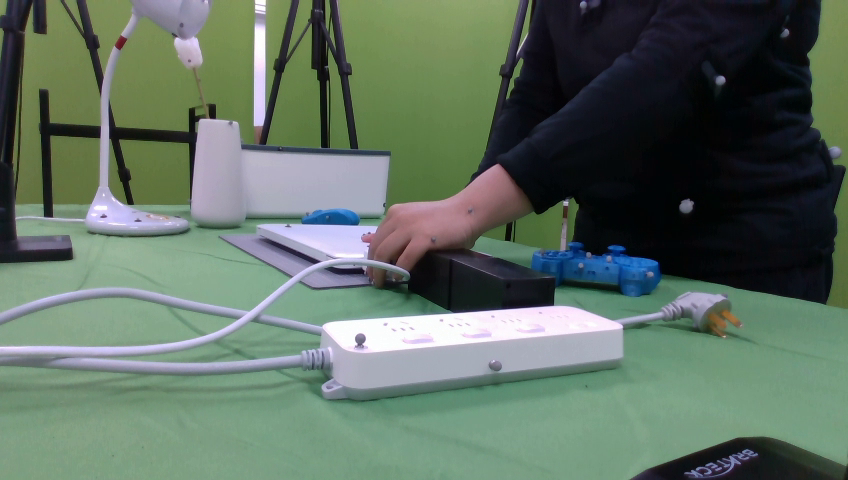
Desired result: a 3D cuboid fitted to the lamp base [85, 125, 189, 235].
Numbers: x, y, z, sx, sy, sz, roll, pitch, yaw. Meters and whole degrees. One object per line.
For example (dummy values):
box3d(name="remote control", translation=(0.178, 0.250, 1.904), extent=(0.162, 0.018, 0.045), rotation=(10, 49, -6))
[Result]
box3d(name="lamp base", translation=(-0.498, -0.105, 1.026), extent=(0.179, 0.180, 0.160), rotation=(1, 7, 3))

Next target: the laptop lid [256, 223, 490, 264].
box3d(name="laptop lid", translation=(-0.093, 0.001, 0.911), extent=(0.243, 0.013, 0.355), rotation=(2, 7, -30))

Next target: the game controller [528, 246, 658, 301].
box3d(name="game controller", translation=(0.202, 0.037, 0.732), extent=(0.155, 0.051, 0.097), rotation=(5, 10, 20))

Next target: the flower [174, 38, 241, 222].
box3d(name="flower", translation=(-0.400, -0.207, 1.141), extent=(0.038, 0.361, 0.044), rotation=(-15, 2, 42))

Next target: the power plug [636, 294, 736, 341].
box3d(name="power plug", translation=(0.234, 0.076, 0.535), extent=(0.072, 0.035, 0.052), rotation=(-31, 38, -2))

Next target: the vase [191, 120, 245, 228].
box3d(name="vase", translation=(-0.389, -0.123, 1.142), extent=(0.098, 0.200, 0.098), rotation=(3, 9, 0))

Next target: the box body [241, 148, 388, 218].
box3d(name="box body", translation=(-0.297, -0.143, 1.474), extent=(0.366, 0.160, 0.253), rotation=(-1, 9, -30))

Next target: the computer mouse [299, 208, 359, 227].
box3d(name="computer mouse", translation=(-0.194, -0.045, 1.241), extent=(0.117, 0.041, 0.063), rotation=(0, 10, 11))

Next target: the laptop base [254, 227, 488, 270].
box3d(name="laptop base", translation=(-0.096, 0.011, 0.911), extent=(0.237, 0.023, 0.352), rotation=(2, 6, -32))

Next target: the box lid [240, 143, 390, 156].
box3d(name="box lid", translation=(-0.295, -0.216, 1.463), extent=(0.373, 0.015, 0.262), rotation=(-1, 8, -29))

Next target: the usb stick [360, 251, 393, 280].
box3d(name="usb stick", translation=(-0.059, 0.028, 0.708), extent=(0.021, 0.027, 0.059), rotation=(-7, 11, -31))

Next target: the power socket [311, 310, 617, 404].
box3d(name="power socket", translation=(0.033, 0.074, 0.416), extent=(0.228, 0.032, 0.072), rotation=(-1, 7, -25))

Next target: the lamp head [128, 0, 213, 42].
box3d(name="lamp head", translation=(-0.423, -0.394, 0.980), extent=(0.123, 0.112, 0.112), rotation=(20, 7, -3))
